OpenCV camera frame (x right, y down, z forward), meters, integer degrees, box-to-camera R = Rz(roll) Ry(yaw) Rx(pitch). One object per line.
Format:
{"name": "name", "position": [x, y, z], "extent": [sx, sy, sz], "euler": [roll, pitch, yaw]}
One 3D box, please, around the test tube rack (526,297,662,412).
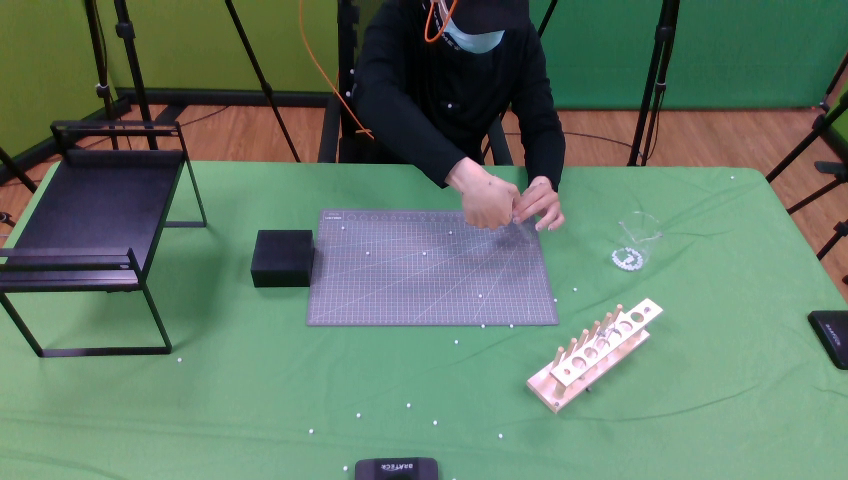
{"name": "test tube rack", "position": [0.284, 0.176, 1.007], "extent": [0.242, 0.085, 0.066], "euler": [-29, 54, -27]}

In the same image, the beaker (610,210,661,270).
{"name": "beaker", "position": [0.404, 0.005, 1.170], "extent": [0.074, 0.101, 0.083], "euler": [20, 49, 15]}

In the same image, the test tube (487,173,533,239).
{"name": "test tube", "position": [0.163, -0.062, 1.140], "extent": [0.017, 0.151, 0.017], "euler": [-32, 17, 11]}

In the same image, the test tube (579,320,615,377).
{"name": "test tube", "position": [0.265, 0.171, 0.942], "extent": [0.017, 0.151, 0.017], "euler": [4, 49, -4]}
